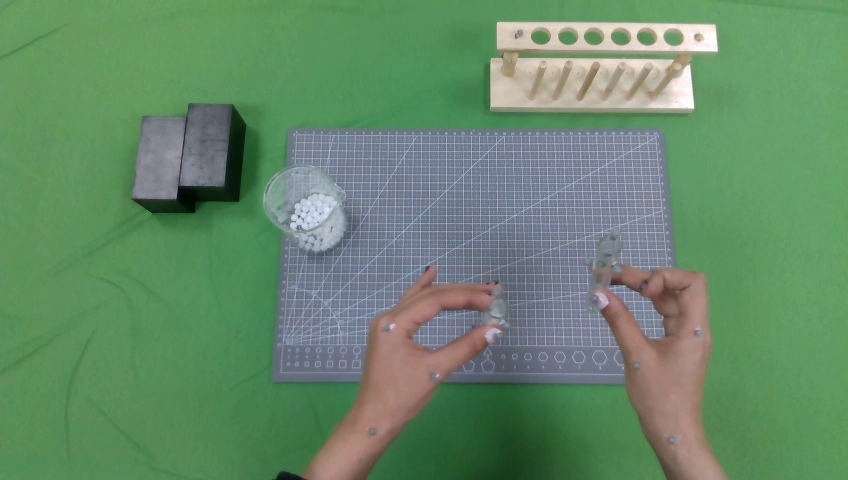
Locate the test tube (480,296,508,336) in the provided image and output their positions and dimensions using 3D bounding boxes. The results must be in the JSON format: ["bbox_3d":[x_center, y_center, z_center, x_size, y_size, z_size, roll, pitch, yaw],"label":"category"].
[{"bbox_3d":[0.055,0.064,0.489,0.017,0.151,0.017,-1,76,3],"label":"test tube"}]

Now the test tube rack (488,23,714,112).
[{"bbox_3d":[0.199,-0.199,0.706,0.242,0.085,0.066,1,76,1],"label":"test tube rack"}]

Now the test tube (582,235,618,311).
[{"bbox_3d":[0.136,0.031,0.476,0.017,0.151,0.017,-4,68,9],"label":"test tube"}]

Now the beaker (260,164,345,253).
[{"bbox_3d":[-0.123,-0.030,0.655,0.084,0.100,0.073,-7,76,-2],"label":"beaker"}]
